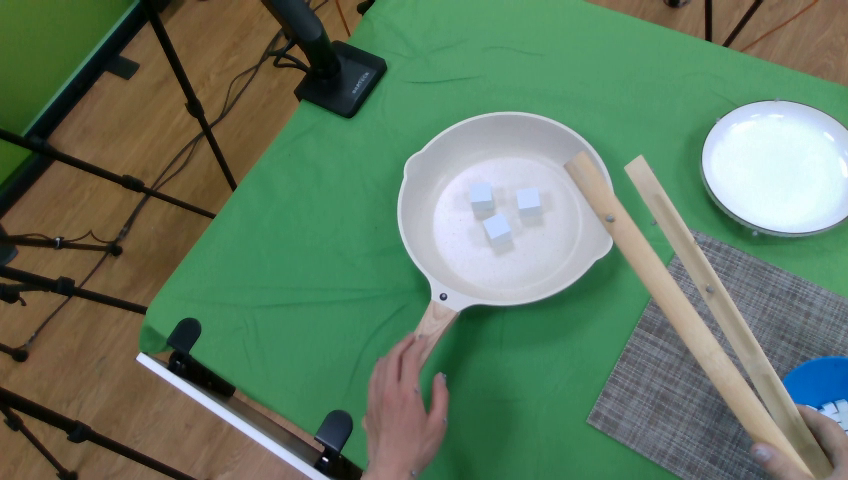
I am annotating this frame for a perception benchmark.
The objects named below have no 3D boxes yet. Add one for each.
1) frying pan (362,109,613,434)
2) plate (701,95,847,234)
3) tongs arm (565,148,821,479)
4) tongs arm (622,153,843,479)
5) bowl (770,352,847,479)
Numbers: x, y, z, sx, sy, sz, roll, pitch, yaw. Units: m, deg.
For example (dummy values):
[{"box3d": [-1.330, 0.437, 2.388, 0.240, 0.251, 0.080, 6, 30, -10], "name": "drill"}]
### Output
[{"box3d": [0.057, 0.036, 0.802, 0.305, 0.103, 0.486, 26, 66, 20], "name": "frying pan"}, {"box3d": [0.484, -0.100, 0.822, 0.207, 0.039, 0.206, -4, 67, 9], "name": "plate"}, {"box3d": [0.247, 0.078, 0.549, 0.028, 0.028, 0.386, -38, 79, 30], "name": "tongs arm"}, {"box3d": [0.296, 0.072, 0.608, 0.026, 0.051, 0.382, -39, 67, 34], "name": "tongs arm"}, {"box3d": [0.455, 0.207, 0.672, 0.151, 0.077, 0.150, -3, 67, 8], "name": "bowl"}]
